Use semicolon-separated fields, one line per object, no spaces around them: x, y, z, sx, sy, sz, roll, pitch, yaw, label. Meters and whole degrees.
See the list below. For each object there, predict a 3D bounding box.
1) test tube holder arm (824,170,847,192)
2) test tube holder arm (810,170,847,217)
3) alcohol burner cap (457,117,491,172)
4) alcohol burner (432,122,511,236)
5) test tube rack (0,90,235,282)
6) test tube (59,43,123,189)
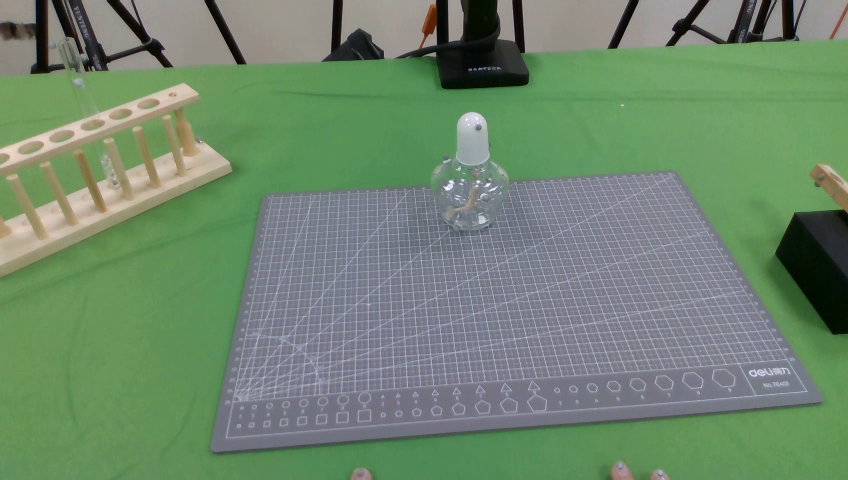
0.388;-0.003;0.507;0.013;0.015;0.176;-1;42;-11;test tube holder arm
0.376;-0.033;0.539;0.010;0.015;0.087;-1;42;-11;test tube holder arm
0.046;-0.090;0.554;0.034;0.048;0.033;-2;45;2;alcohol burner cap
0.046;-0.063;0.578;0.078;0.120;0.077;0;43;0;alcohol burner
-0.323;-0.063;0.609;0.242;0.086;0.066;-32;50;-30;test tube rack
-0.323;-0.117;0.596;0.017;0.151;0.017;-1;35;1;test tube
